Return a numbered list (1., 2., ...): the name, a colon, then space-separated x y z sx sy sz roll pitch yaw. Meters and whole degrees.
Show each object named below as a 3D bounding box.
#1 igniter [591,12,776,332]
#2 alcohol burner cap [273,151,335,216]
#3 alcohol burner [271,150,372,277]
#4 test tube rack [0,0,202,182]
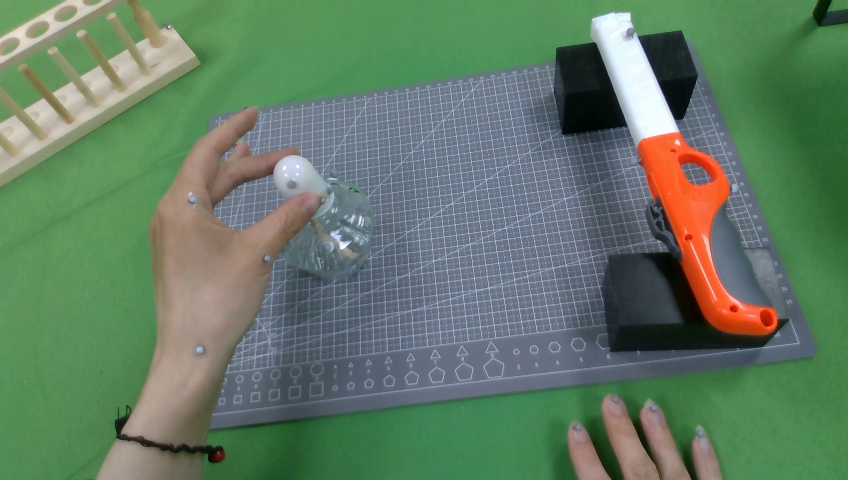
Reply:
1. igniter: 0.168 -0.061 0.419 0.057 0.025 0.274 -11 58 4
2. alcohol burner cap: -0.083 -0.041 0.412 0.034 0.048 0.033 -5 64 10
3. alcohol burner: -0.079 -0.023 0.442 0.078 0.120 0.077 -4 59 8
4. test tube rack: -0.349 -0.156 0.576 0.242 0.086 0.066 -36 62 -11
